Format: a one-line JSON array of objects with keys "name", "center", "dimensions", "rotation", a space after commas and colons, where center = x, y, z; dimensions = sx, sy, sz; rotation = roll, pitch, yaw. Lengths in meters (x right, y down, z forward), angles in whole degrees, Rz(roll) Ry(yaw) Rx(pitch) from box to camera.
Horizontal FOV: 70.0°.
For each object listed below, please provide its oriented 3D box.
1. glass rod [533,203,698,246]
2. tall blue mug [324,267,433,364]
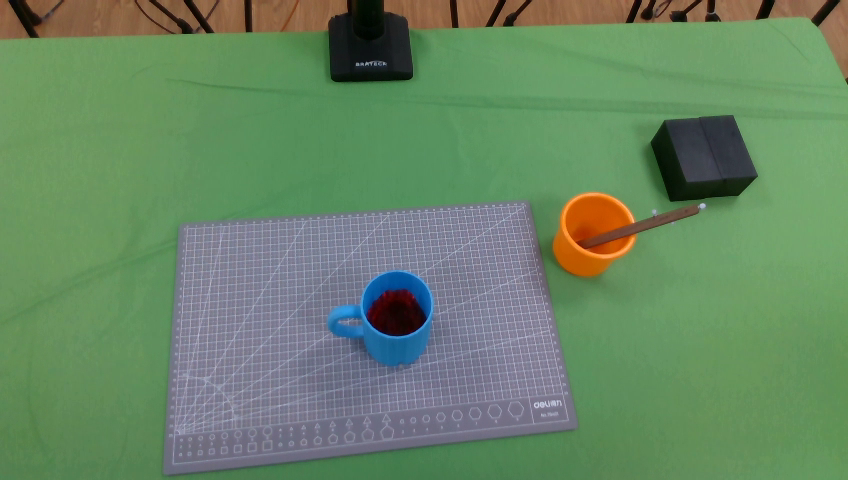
[{"name": "glass rod", "center": [0.222, -0.017, 0.726], "dimensions": [0.199, 0.008, 0.008], "rotation": [-15, 58, 32]}, {"name": "tall blue mug", "center": [-0.046, 0.092, 0.664], "dimensions": [0.107, 0.108, 0.077], "rotation": [-26, 69, -16]}]
